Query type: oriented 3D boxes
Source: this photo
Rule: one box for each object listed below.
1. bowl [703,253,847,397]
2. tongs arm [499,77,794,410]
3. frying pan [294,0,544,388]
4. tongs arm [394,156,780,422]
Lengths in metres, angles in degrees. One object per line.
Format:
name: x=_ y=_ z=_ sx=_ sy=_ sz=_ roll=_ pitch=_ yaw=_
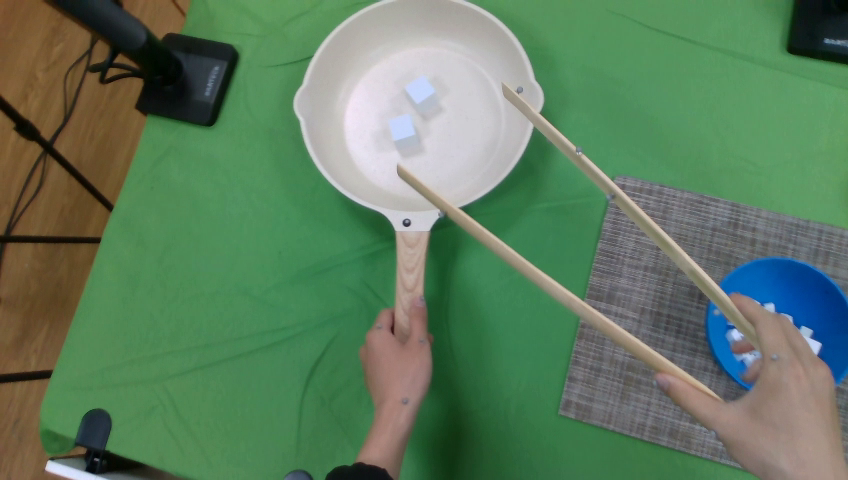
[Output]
bowl: x=0.375 y=0.095 z=0.664 sx=0.151 sy=0.077 sz=0.150 roll=-1 pitch=78 yaw=6
tongs arm: x=0.172 y=-0.016 z=0.539 sx=0.051 sy=0.027 sz=0.381 roll=-35 pitch=64 yaw=-11
frying pan: x=-0.012 y=-0.069 z=0.731 sx=0.306 sy=0.103 sz=0.484 roll=1 pitch=69 yaw=7
tongs arm: x=0.114 y=0.030 z=0.525 sx=0.384 sy=0.028 sz=0.028 roll=38 pitch=69 yaw=23
